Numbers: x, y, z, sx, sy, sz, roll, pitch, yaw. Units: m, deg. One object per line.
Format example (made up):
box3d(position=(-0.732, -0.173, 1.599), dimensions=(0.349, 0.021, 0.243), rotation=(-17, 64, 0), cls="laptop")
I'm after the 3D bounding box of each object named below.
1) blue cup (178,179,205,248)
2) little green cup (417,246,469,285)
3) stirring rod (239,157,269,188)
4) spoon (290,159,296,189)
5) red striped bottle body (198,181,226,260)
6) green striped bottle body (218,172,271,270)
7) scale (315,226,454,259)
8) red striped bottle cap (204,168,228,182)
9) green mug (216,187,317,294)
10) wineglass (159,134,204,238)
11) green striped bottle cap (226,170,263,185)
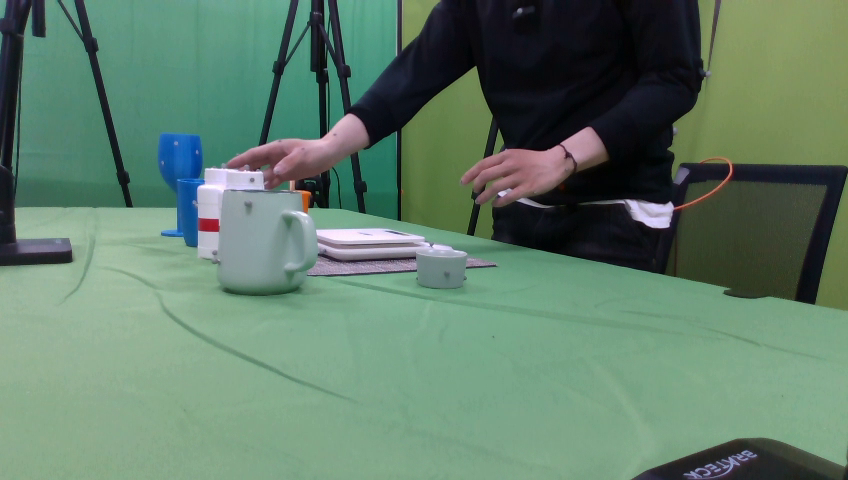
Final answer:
box3d(position=(-0.335, -0.041, 0.936), dimensions=(0.093, 0.100, 0.092), rotation=(3, 9, 0), cls="blue cup")
box3d(position=(0.021, 0.029, 0.701), dimensions=(0.061, 0.038, 0.061), rotation=(1, 6, 0), cls="little green cup")
box3d(position=(-0.309, -0.098, 1.209), dimensions=(0.006, 0.177, 0.014), rotation=(-39, 29, -3), cls="stirring rod")
box3d(position=(-0.273, -0.102, 1.252), dimensions=(0.042, 0.193, 0.021), rotation=(7, -38, -17), cls="spoon")
box3d(position=(-0.275, -0.035, 0.827), dimensions=(0.063, 0.119, 0.063), rotation=(1, 6, 0), cls="red striped bottle body")
box3d(position=(-0.223, -0.025, 0.755), dimensions=(0.063, 0.119, 0.063), rotation=(1, 7, 0), cls="green striped bottle body")
box3d(position=(-0.066, 0.001, 0.906), dimensions=(0.202, 0.031, 0.148), rotation=(-2, 8, -31), cls="scale")
box3d(position=(-0.275, -0.088, 0.821), dimensions=(0.044, 0.017, 0.044), rotation=(4, 7, 0), cls="red striped bottle cap")
box3d(position=(-0.157, 0.000, 0.629), dimensions=(0.124, 0.105, 0.093), rotation=(7, 9, 37), cls="green mug")
box3d(position=(-0.415, -0.093, 1.040), dimensions=(0.074, 0.172, 0.073), rotation=(2, 7, 0), cls="wineglass")
box3d(position=(-0.222, -0.077, 0.748), dimensions=(0.044, 0.020, 0.044), rotation=(1, 7, 0), cls="green striped bottle cap")
